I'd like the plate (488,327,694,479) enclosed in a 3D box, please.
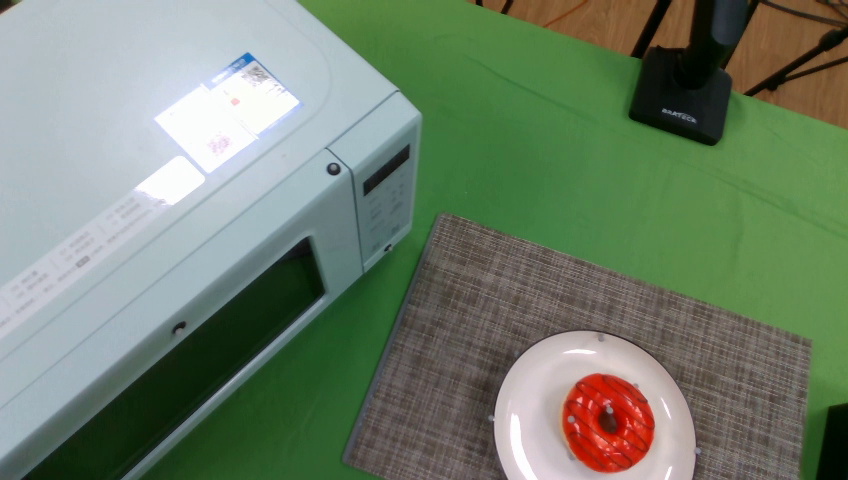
[{"bbox_3d":[0.168,0.195,0.623,0.209,0.038,0.207,2,68,-4],"label":"plate"}]

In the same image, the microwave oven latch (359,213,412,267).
[{"bbox_3d":[-0.048,-0.007,0.671,0.030,0.029,0.079,44,72,12],"label":"microwave oven latch"}]

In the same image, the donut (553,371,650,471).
[{"bbox_3d":[0.180,0.183,0.617,0.099,0.048,0.098,2,70,-6],"label":"donut"}]

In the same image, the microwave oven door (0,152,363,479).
[{"bbox_3d":[-0.196,0.095,0.510,0.039,0.245,0.355,43,72,13],"label":"microwave oven door"}]

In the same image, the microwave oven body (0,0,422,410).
[{"bbox_3d":[-0.272,-0.028,0.558,0.324,0.261,0.441,43,72,12],"label":"microwave oven body"}]
